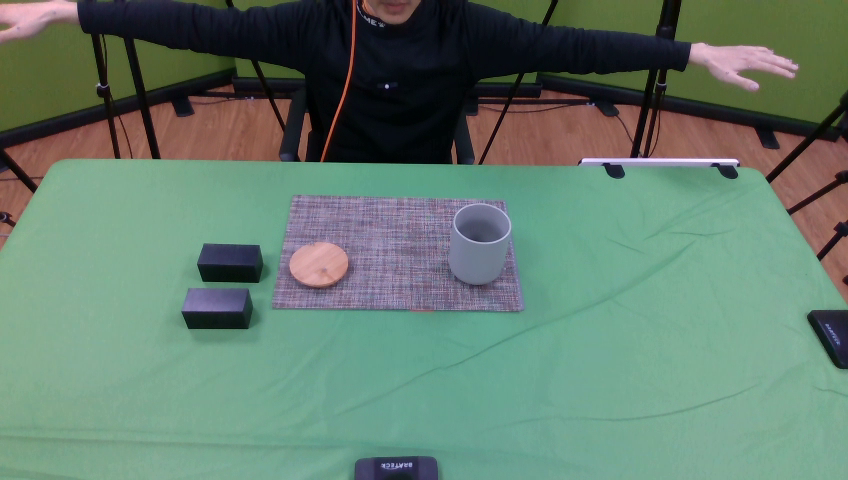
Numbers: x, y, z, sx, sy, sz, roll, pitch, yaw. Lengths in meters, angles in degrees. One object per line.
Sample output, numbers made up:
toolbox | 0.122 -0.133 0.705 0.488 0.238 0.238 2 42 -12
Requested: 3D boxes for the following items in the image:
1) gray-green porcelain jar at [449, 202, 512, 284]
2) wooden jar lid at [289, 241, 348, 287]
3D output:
gray-green porcelain jar | 0.100 0.010 1.116 0.106 0.127 0.105 2 47 -2
wooden jar lid | -0.196 0.047 1.133 0.108 0.021 0.107 3 45 -2
